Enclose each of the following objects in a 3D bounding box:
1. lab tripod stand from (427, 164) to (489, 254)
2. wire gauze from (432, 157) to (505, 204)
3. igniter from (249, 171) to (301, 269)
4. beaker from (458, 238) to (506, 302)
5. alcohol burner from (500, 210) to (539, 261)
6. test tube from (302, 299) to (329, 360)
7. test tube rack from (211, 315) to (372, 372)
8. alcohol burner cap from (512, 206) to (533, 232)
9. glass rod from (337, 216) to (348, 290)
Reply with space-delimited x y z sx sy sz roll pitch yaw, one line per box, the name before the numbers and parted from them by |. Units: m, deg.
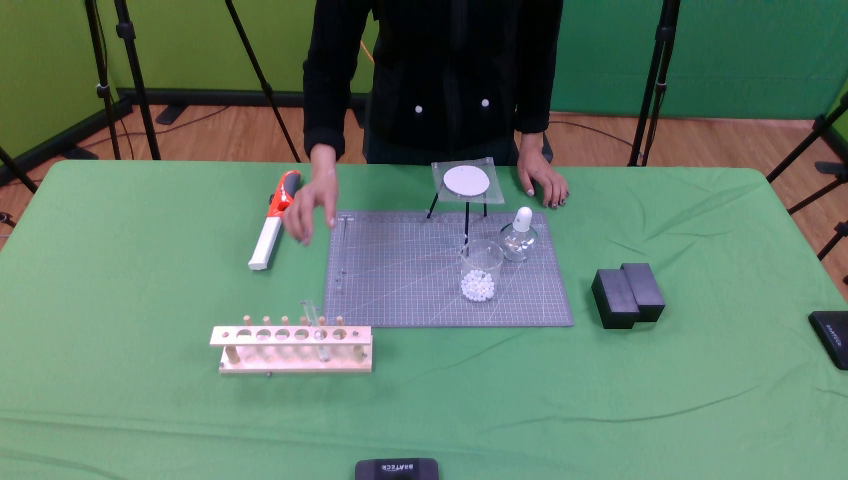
lab tripod stand | 0.078 -0.068 1.188 0.148 0.132 0.147 3 47 -3
wire gauze | 0.081 -0.112 1.137 0.125 0.011 0.120 -2 48 -6
igniter | -0.297 -0.049 1.220 0.057 0.025 0.275 -1 45 9
beaker | 0.099 0.057 1.093 0.084 0.101 0.073 6 46 3
alcohol burner | 0.185 -0.016 1.159 0.078 0.119 0.077 2 48 -2
test tube | -0.167 0.142 0.937 0.017 0.151 0.017 -2 47 2
test tube rack | -0.208 0.164 0.982 0.242 0.085 0.066 1 46 -4
alcohol burner cap | 0.186 -0.042 1.134 0.034 0.048 0.033 6 41 -5
glass rod | -0.158 0.021 1.171 0.008 0.008 0.198 1 43 -2
